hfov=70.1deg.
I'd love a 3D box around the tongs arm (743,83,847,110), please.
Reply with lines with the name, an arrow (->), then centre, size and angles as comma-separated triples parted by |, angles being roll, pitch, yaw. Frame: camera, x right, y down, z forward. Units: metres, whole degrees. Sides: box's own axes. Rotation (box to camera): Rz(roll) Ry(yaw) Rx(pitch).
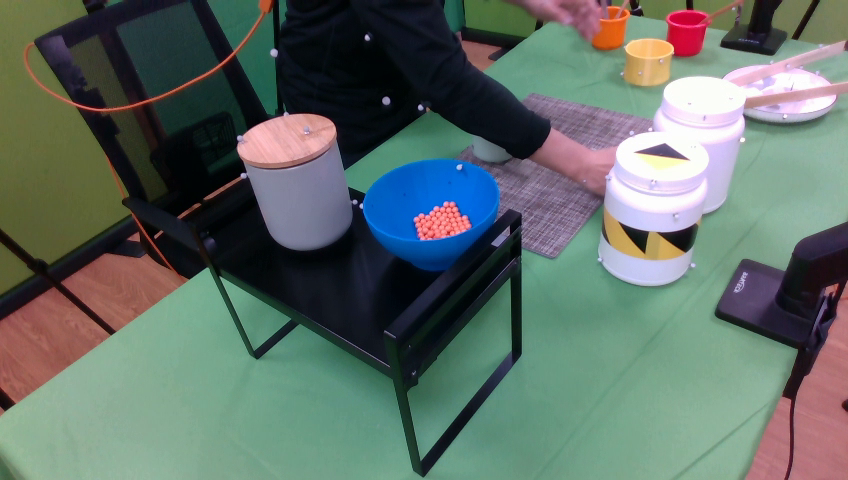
tongs arm -> 0.738, -0.281, 1.134 | 0.388, 0.028, 0.028 | -9, 47, -5

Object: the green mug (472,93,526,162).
green mug -> 0.144, -0.202, 1.122 | 0.093, 0.105, 0.124 | -29, 45, -23

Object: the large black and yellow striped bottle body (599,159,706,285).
large black and yellow striped bottle body -> 0.320, -0.042, 0.854 | 0.131, 0.185, 0.130 | -4, 41, 4

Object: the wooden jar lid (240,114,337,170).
wooden jar lid -> -0.149, -0.106, 0.673 | 0.108, 0.021, 0.108 | -6, 38, 5

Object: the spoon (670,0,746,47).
spoon -> 0.629, -0.485, 1.350 | 0.022, 0.193, 0.042 | 47, 54, -7

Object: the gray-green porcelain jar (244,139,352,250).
gray-green porcelain jar -> -0.144, -0.060, 0.714 | 0.106, 0.127, 0.105 | -4, 41, 4

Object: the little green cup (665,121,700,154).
little green cup -> 0.473, -0.188, 1.113 | 0.061, 0.039, 0.061 | -5, 40, 5

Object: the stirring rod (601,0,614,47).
stirring rod -> 0.440, -0.552, 1.463 | 0.014, 0.006, 0.175 | -7, 83, 2

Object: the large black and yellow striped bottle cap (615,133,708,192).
large black and yellow striped bottle cap -> 0.313, -0.105, 0.799 | 0.115, 0.019, 0.114 | -5, 41, 5

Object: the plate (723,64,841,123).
plate -> 0.694, -0.282, 1.189 | 0.207, 0.039, 0.206 | -4, 40, 4

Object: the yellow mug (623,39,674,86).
yellow mug -> 0.485, -0.398, 1.334 | 0.100, 0.064, 0.130 | -18, 41, -11

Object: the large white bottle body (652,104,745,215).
large white bottle body -> 0.426, -0.146, 0.958 | 0.130, 0.185, 0.130 | -4, 40, 4

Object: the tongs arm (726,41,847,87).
tongs arm -> 0.712, -0.332, 1.194 | 0.386, 0.026, 0.050 | -19, 45, -16

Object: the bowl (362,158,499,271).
bowl -> 0.011, -0.019, 0.679 | 0.151, 0.077, 0.150 | -5, 41, 5

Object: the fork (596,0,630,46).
fork -> 0.481, -0.556, 1.452 | 0.028, 0.019, 0.207 | 40, 103, 38

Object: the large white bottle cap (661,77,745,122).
large white bottle cap -> 0.415, -0.210, 0.904 | 0.115, 0.018, 0.114 | -4, 40, 4
